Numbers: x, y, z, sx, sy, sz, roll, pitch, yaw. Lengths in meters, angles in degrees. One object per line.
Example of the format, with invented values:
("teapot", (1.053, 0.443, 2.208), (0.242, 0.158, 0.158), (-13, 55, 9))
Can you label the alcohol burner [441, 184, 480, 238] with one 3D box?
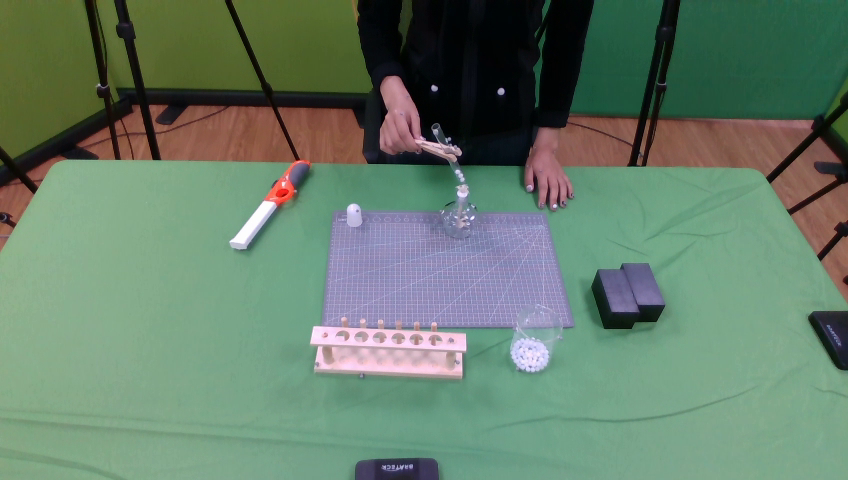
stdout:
("alcohol burner", (0.073, -0.061, 1.195), (0.078, 0.120, 0.077), (1, 47, -1))

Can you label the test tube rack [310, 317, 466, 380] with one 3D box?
("test tube rack", (-0.056, 0.171, 0.987), (0.242, 0.085, 0.066), (3, 45, -1))

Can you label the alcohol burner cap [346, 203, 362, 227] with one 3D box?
("alcohol burner cap", (-0.141, -0.053, 1.222), (0.034, 0.048, 0.033), (2, 47, -2))

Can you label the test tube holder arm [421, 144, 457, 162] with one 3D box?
("test tube holder arm", (0.026, -0.161, 1.095), (0.010, 0.015, 0.087), (-49, 46, -11))

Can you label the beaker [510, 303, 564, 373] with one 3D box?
("beaker", (0.182, 0.164, 1.000), (0.074, 0.101, 0.083), (2, 46, -1))

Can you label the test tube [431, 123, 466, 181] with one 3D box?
("test tube", (0.046, -0.154, 1.084), (0.017, 0.151, 0.017), (-13, 53, 17))

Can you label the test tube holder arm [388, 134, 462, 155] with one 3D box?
("test tube holder arm", (-0.002, -0.178, 1.125), (0.177, 0.015, 0.013), (20, 67, 40))

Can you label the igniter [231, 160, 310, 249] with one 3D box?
("igniter", (-0.311, -0.081, 1.250), (0.057, 0.025, 0.275), (9, 45, 18))
